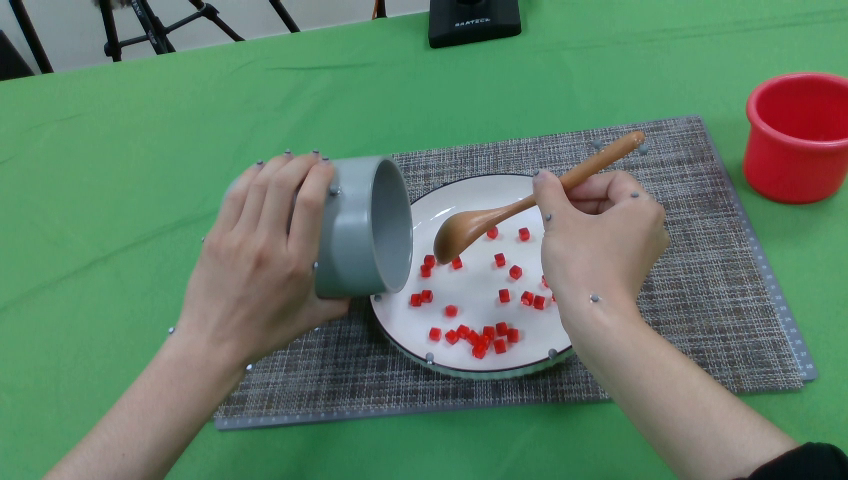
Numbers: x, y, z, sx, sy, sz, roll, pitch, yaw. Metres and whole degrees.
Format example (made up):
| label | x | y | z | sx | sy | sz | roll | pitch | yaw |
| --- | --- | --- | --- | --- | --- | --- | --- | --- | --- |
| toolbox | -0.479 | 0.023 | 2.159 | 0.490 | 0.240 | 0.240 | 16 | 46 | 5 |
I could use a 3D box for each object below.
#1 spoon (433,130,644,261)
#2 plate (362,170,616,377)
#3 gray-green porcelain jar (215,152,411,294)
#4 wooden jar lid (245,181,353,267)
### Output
| label | x | y | z | sx | sy | sz | roll | pitch | yaw |
| --- | --- | --- | --- | --- | --- | --- | --- | --- | --- |
| spoon | 0.074 | -0.032 | 0.447 | 0.193 | 0.022 | 0.041 | -27 | 46 | 34 |
| plate | 0.052 | 0.026 | 0.507 | 0.207 | 0.039 | 0.205 | -7 | 49 | 8 |
| gray-green porcelain jar | -0.085 | -0.011 | 0.468 | 0.126 | 0.107 | 0.105 | -3 | 49 | 14 |
| wooden jar lid | -0.121 | -0.015 | 0.597 | 0.108 | 0.021 | 0.107 | -6 | 48 | 7 |
